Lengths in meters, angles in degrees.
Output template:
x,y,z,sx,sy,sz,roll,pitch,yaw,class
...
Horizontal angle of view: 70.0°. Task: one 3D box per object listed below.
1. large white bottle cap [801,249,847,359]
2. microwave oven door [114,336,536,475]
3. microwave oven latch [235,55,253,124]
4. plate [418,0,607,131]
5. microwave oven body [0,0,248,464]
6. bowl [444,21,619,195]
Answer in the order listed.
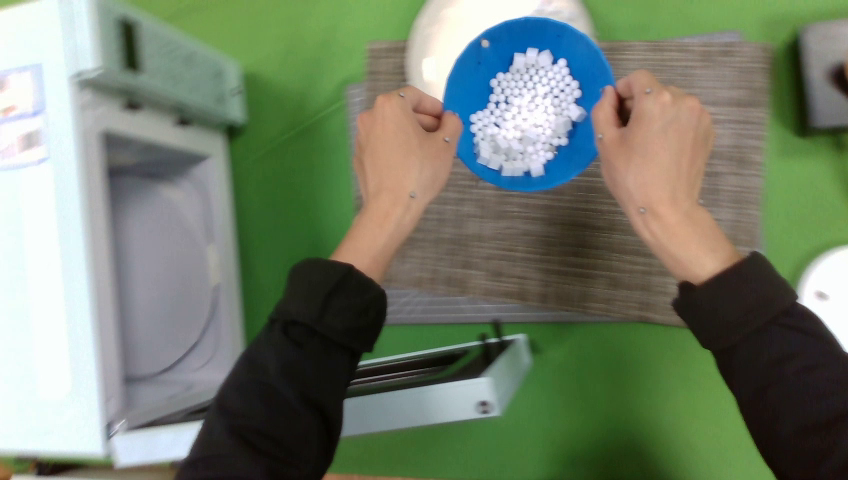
x,y,z,sx,sy,sz,roll,pitch,yaw,class
0.437,0.064,0.595,0.114,0.018,0.114,0,89,14,large white bottle cap
-0.078,0.159,0.606,0.355,0.245,0.039,-13,85,15,microwave oven door
-0.234,-0.188,0.759,0.030,0.029,0.079,-4,89,15,microwave oven latch
0.098,-0.198,0.680,0.208,0.038,0.209,-1,88,16,plate
-0.390,-0.002,0.701,0.325,0.261,0.441,-5,88,15,microwave oven body
0.099,-0.114,0.560,0.151,0.077,0.151,0,92,11,bowl
